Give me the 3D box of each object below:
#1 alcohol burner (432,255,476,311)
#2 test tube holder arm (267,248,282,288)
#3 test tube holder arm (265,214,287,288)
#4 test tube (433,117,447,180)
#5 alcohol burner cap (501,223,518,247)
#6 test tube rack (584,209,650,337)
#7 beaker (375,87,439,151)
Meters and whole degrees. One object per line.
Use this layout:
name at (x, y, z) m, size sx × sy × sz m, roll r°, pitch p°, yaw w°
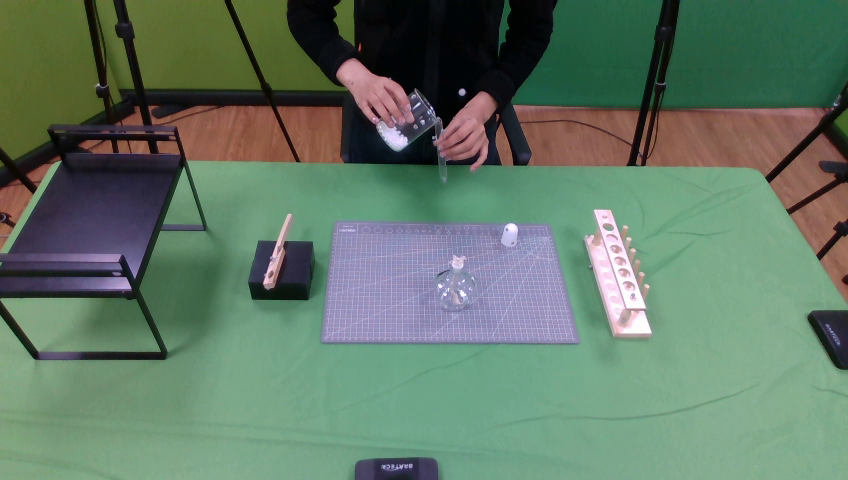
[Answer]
alcohol burner at (0.055, 0.070, 1.068) m, size 0.078 × 0.119 × 0.077 m, roll 3°, pitch 45°, yaw -3°
test tube holder arm at (-0.262, 0.048, 1.068) m, size 0.010 × 0.015 × 0.087 m, roll 4°, pitch 45°, yaw -3°
test tube holder arm at (-0.268, 0.016, 1.099) m, size 0.013 × 0.015 × 0.177 m, roll 2°, pitch 45°, yaw -4°
test tube at (0.032, -0.175, 1.184) m, size 0.017 × 0.151 × 0.017 m, roll -4°, pitch 48°, yaw 4°
alcohol burner cap at (0.172, -0.013, 1.206) m, size 0.034 × 0.048 × 0.033 m, roll 2°, pitch 45°, yaw -1°
test tube rack at (0.365, 0.056, 1.129) m, size 0.067 × 0.085 × 0.240 m, roll 1°, pitch 46°, yaw -4°
beaker at (-0.032, -0.216, 1.103) m, size 0.100 × 0.084 × 0.073 m, roll -35°, pitch 58°, yaw 13°
